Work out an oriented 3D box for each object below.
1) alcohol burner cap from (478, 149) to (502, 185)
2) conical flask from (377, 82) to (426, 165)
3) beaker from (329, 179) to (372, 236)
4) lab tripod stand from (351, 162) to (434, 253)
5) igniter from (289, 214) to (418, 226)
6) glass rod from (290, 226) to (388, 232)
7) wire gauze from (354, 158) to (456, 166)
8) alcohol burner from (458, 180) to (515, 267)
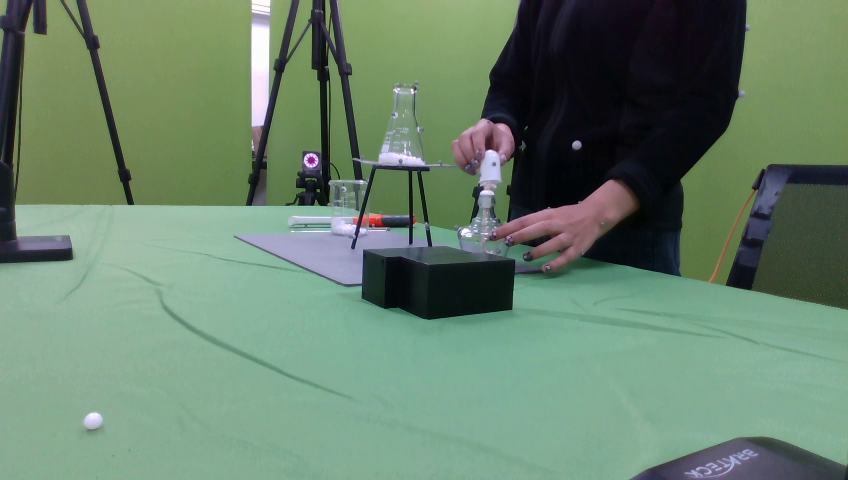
[{"bbox_3d":[0.089,-0.101,0.825,0.034,0.048,0.034,-2,-3,0],"label":"alcohol burner cap"},{"bbox_3d":[-0.032,-0.176,0.918,0.075,0.122,0.075,3,8,0],"label":"conical flask"},{"bbox_3d":[-0.137,-0.061,1.101,0.084,0.100,0.074,5,7,20],"label":"beaker"},{"bbox_3d":[-0.034,-0.052,0.933,0.148,0.131,0.148,4,7,0],"label":"lab tripod stand"},{"bbox_3d":[-0.141,-0.042,1.258,0.278,0.025,0.057,-1,-2,-30],"label":"igniter"},{"bbox_3d":[-0.161,-0.022,1.177,0.201,0.008,0.008,-2,8,-28],"label":"glass rod"},{"bbox_3d":[-0.030,-0.117,0.927,0.122,0.011,0.124,0,5,-36],"label":"wire gauze"},{"bbox_3d":[0.085,-0.023,0.824,0.078,0.119,0.078,0,8,0],"label":"alcohol burner"}]
